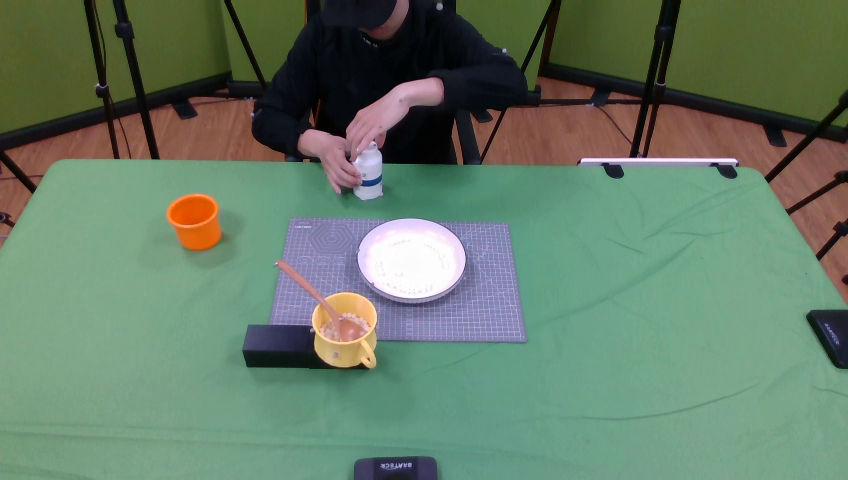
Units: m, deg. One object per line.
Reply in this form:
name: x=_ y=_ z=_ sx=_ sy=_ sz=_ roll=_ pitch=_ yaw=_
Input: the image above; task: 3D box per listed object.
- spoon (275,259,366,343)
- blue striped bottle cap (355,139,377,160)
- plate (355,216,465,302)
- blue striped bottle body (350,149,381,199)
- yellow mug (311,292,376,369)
spoon: x=-0.161 y=0.098 z=0.946 sx=0.194 sy=0.021 sz=0.041 roll=48 pitch=56 yaw=-5
blue striped bottle cap: x=-0.118 y=-0.183 z=1.225 sx=0.044 sy=0.021 sz=0.044 roll=1 pitch=45 yaw=-1
plate: x=-0.027 y=0.039 z=1.144 sx=0.208 sy=0.039 sz=0.206 roll=2 pitch=46 yaw=-2
blue striped bottle body: x=-0.122 y=-0.148 z=1.263 sx=0.063 sy=0.121 sz=0.062 roll=2 pitch=46 yaw=-2
yellow mug: x=-0.116 y=0.150 z=0.945 sx=0.100 sy=0.064 sz=0.130 roll=-29 pitch=56 yaw=-28
